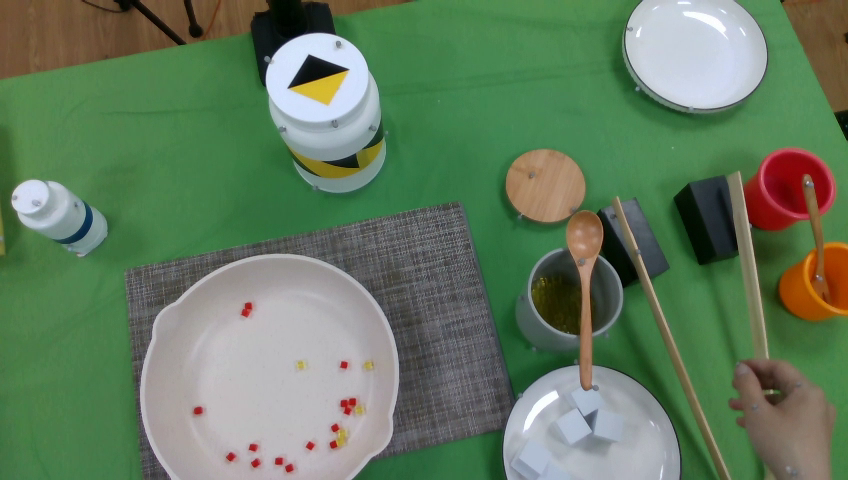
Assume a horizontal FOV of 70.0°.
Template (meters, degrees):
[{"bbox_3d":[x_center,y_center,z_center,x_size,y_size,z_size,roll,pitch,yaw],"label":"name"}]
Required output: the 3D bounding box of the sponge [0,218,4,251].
[{"bbox_3d":[-0.640,-0.073,0.793,0.118,0.061,0.205,-17,75,-6],"label":"sponge"}]

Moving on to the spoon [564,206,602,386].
[{"bbox_3d":[0.172,0.059,0.654,0.041,0.022,0.193,4,77,-2],"label":"spoon"}]

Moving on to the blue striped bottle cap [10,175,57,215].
[{"bbox_3d":[-0.455,-0.053,0.704,0.044,0.021,0.044,0,74,-1],"label":"blue striped bottle cap"}]

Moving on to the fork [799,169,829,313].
[{"bbox_3d":[0.472,0.005,0.735,0.028,0.018,0.209,-25,119,0],"label":"fork"}]

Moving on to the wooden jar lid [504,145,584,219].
[{"bbox_3d":[0.162,-0.078,0.825,0.108,0.021,0.108,0,74,0],"label":"wooden jar lid"}]

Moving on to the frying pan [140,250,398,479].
[{"bbox_3d":[-0.224,0.241,0.675,0.306,0.103,0.486,27,66,9],"label":"frying pan"}]

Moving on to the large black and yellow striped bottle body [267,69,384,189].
[{"bbox_3d":[-0.120,-0.157,0.761,0.131,0.185,0.130,0,72,0],"label":"large black and yellow striped bottle body"}]

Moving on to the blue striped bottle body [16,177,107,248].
[{"bbox_3d":[-0.454,-0.036,0.753,0.063,0.121,0.062,0,72,0],"label":"blue striped bottle body"}]

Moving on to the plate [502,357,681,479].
[{"bbox_3d":[0.194,0.244,0.717,0.208,0.039,0.206,0,72,0],"label":"plate"}]

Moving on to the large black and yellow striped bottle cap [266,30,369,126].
[{"bbox_3d":[-0.119,-0.184,0.682,0.115,0.019,0.114,0,74,0],"label":"large black and yellow striped bottle cap"}]

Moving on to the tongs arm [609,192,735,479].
[{"bbox_3d":[0.312,0.117,0.729,0.051,0.026,0.383,-17,84,-7],"label":"tongs arm"}]

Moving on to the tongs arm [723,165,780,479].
[{"bbox_3d":[0.394,0.099,0.735,0.028,0.028,0.386,-3,83,-9],"label":"tongs arm"}]

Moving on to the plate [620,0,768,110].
[{"bbox_3d":[0.386,-0.278,0.879,0.209,0.038,0.208,0,73,0],"label":"plate"}]

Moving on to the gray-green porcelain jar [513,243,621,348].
[{"bbox_3d":[0.164,0.071,0.724,0.106,0.127,0.105,0,72,0],"label":"gray-green porcelain jar"}]
